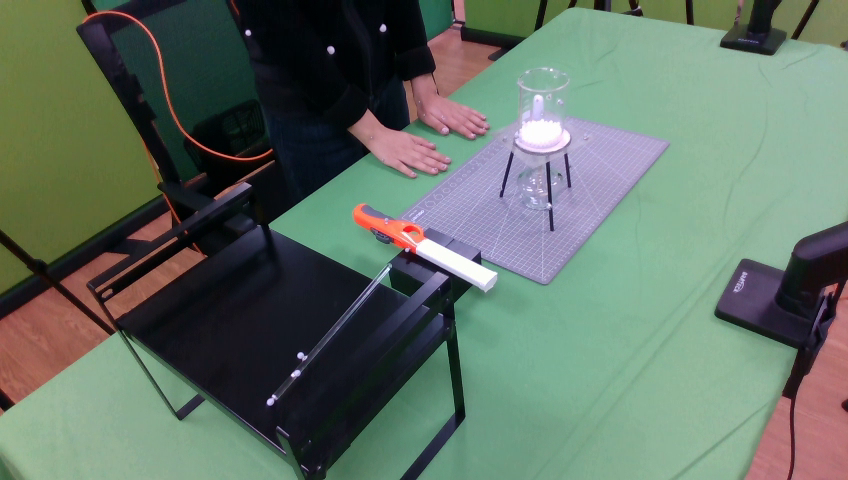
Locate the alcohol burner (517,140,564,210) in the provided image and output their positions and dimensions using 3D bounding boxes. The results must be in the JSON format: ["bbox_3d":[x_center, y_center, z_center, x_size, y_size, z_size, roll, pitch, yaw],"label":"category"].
[{"bbox_3d":[0.193,-0.110,1.001,0.078,0.119,0.077,-5,38,5],"label":"alcohol burner"}]

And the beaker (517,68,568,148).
[{"bbox_3d":[0.179,-0.198,0.914,0.073,0.100,0.084,25,49,31],"label":"beaker"}]

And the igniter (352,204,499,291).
[{"bbox_3d":[-0.009,0.005,0.895,0.274,0.025,0.057,27,48,32],"label":"igniter"}]

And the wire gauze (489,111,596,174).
[{"bbox_3d":[0.183,-0.159,0.943,0.122,0.011,0.124,-25,47,-17],"label":"wire gauze"}]

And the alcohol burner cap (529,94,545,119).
[{"bbox_3d":[0.234,-0.278,1.247,0.034,0.048,0.033,-4,44,5],"label":"alcohol burner cap"}]

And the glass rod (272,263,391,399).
[{"bbox_3d":[-0.088,0.086,0.618,0.008,0.008,0.200,17,45,26],"label":"glass rod"}]

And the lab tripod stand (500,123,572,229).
[{"bbox_3d":[0.194,-0.110,0.985,0.148,0.132,0.147,-3,41,3],"label":"lab tripod stand"}]
